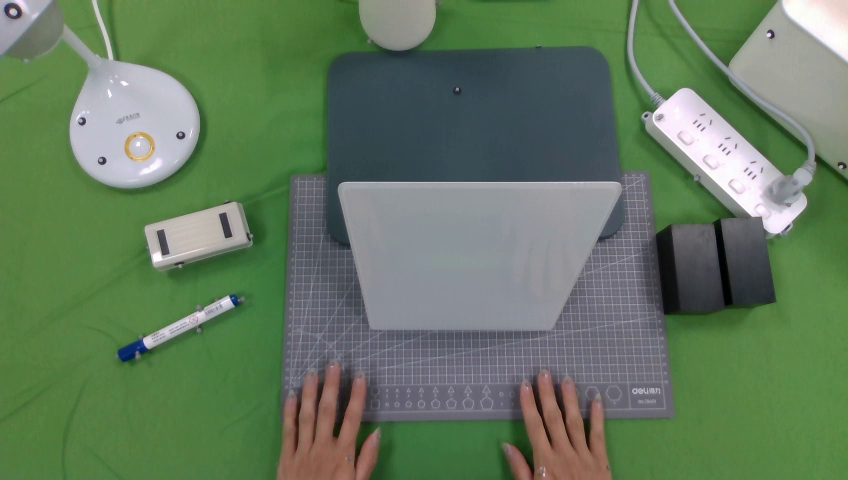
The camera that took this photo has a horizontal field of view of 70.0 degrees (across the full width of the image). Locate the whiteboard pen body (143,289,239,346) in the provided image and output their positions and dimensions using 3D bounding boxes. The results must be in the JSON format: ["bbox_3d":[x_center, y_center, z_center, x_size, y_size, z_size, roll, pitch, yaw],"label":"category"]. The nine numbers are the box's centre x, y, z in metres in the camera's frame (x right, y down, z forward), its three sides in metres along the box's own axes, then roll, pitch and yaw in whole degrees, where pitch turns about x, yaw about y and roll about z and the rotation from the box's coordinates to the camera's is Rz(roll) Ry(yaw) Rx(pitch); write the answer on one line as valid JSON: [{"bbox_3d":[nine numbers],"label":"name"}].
[{"bbox_3d":[-0.282,0.095,0.707,0.141,0.017,0.017,-28,78,-6],"label":"whiteboard pen body"}]

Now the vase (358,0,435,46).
[{"bbox_3d":[-0.034,-0.317,0.712,0.098,0.201,0.097,0,75,-1],"label":"vase"}]

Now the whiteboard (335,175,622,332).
[{"bbox_3d":[0.043,-0.029,0.614,0.217,0.308,0.142,1,61,1],"label":"whiteboard"}]

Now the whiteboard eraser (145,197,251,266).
[{"bbox_3d":[-0.267,-0.010,0.720,0.113,0.042,0.055,-17,80,-5],"label":"whiteboard eraser"}]

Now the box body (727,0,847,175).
[{"bbox_3d":[0.585,-0.203,0.709,0.363,0.161,0.254,43,80,9],"label":"box body"}]

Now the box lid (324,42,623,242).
[{"bbox_3d":[0.061,-0.128,0.765,0.372,0.015,0.262,-2,77,-1],"label":"box lid"}]

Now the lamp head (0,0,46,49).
[{"bbox_3d":[-0.326,-0.201,0.409,0.112,0.124,0.111,-25,43,26],"label":"lamp head"}]

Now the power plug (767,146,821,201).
[{"bbox_3d":[0.443,-0.073,0.721,0.072,0.053,0.035,-31,77,-11],"label":"power plug"}]

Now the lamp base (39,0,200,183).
[{"bbox_3d":[-0.369,-0.176,0.685,0.160,0.181,0.178,-31,76,-7],"label":"lamp base"}]

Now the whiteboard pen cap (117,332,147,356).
[{"bbox_3d":[-0.335,0.119,0.701,0.033,0.018,0.018,-28,78,-4],"label":"whiteboard pen cap"}]

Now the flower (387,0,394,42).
[{"bbox_3d":[-0.028,-0.352,0.636,0.044,0.364,0.038,37,63,14],"label":"flower"}]

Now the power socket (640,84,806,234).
[{"bbox_3d":[0.371,-0.102,0.751,0.072,0.033,0.226,-41,80,-9],"label":"power socket"}]
